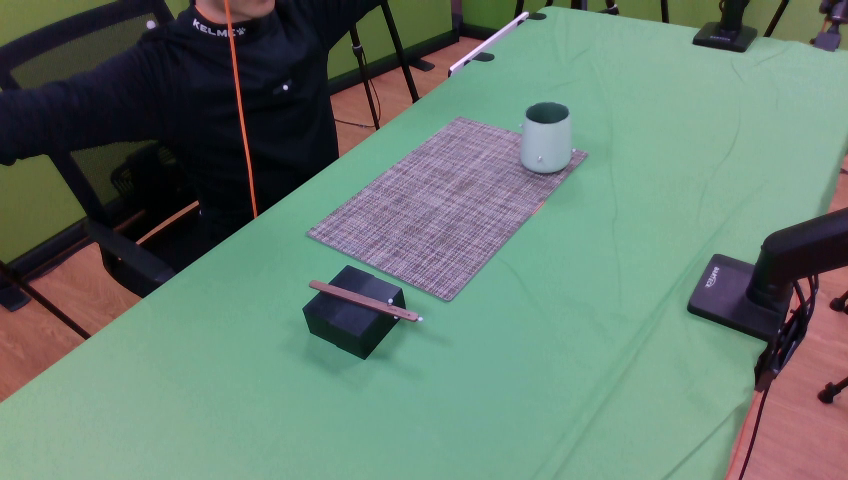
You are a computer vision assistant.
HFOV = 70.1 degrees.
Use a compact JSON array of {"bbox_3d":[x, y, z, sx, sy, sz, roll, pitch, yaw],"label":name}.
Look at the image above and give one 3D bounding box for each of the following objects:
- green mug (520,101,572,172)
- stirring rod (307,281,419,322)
[{"bbox_3d":[0.220,-0.194,1.093,0.092,0.105,0.125,-2,41,7],"label":"green mug"},{"bbox_3d":[-0.086,0.082,0.822,0.175,0.006,0.014,15,47,23],"label":"stirring rod"}]
